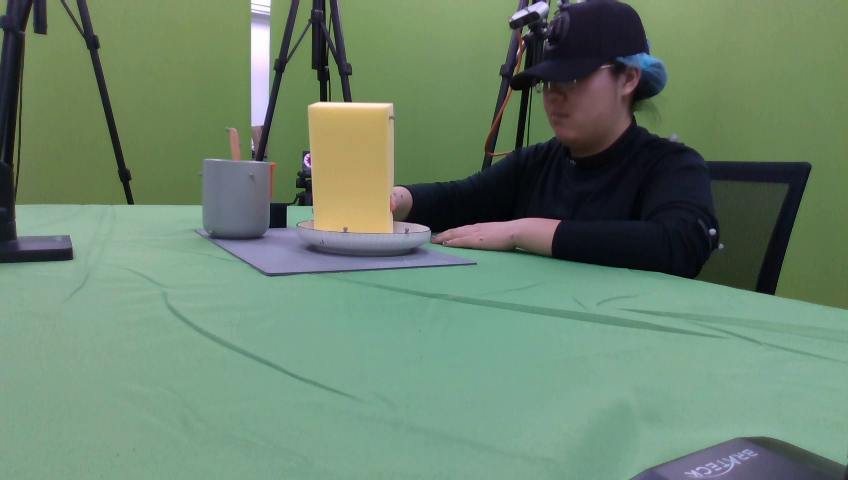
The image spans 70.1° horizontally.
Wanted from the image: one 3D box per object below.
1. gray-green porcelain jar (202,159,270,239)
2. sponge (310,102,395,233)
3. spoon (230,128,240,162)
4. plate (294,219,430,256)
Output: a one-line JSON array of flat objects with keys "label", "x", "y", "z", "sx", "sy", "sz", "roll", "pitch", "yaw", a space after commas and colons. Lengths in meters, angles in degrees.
[{"label": "gray-green porcelain jar", "x": -0.310, "y": -0.068, "z": 0.999, "sx": 0.106, "sy": 0.126, "sz": 0.106, "roll": 3, "pitch": 8, "yaw": 0}, {"label": "sponge", "x": -0.107, "y": -0.105, "z": 0.932, "sx": 0.118, "sy": 0.207, "sz": 0.061, "roll": 3, "pitch": 18, "yaw": 4}, {"label": "spoon", "x": -0.314, "y": -0.109, "z": 1.025, "sx": 0.042, "sy": 0.193, "sz": 0.021, "roll": -5, "pitch": -19, "yaw": -16}, {"label": "plate", "x": -0.096, "y": -0.005, "z": 0.936, "sx": 0.208, "sy": 0.039, "sz": 0.207, "roll": 3, "pitch": 7, "yaw": 0}]
